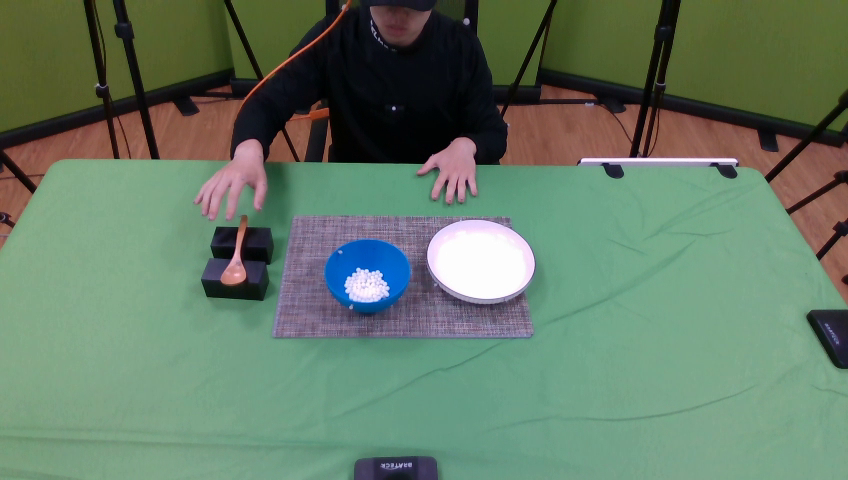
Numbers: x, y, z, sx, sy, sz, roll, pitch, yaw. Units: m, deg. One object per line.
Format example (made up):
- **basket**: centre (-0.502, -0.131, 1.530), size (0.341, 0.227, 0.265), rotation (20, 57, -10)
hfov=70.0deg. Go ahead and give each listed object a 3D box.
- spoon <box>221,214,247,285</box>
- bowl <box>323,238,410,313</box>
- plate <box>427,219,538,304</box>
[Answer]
- **spoon**: centre (-0.334, 0.013, 1.094), size (0.041, 0.022, 0.192), rotation (-2, 45, -5)
- **bowl**: centre (-0.101, 0.077, 1.073), size (0.151, 0.077, 0.150), rotation (2, 46, -2)
- **plate**: centre (0.109, 0.044, 1.149), size (0.208, 0.039, 0.206), rotation (2, 46, -2)
